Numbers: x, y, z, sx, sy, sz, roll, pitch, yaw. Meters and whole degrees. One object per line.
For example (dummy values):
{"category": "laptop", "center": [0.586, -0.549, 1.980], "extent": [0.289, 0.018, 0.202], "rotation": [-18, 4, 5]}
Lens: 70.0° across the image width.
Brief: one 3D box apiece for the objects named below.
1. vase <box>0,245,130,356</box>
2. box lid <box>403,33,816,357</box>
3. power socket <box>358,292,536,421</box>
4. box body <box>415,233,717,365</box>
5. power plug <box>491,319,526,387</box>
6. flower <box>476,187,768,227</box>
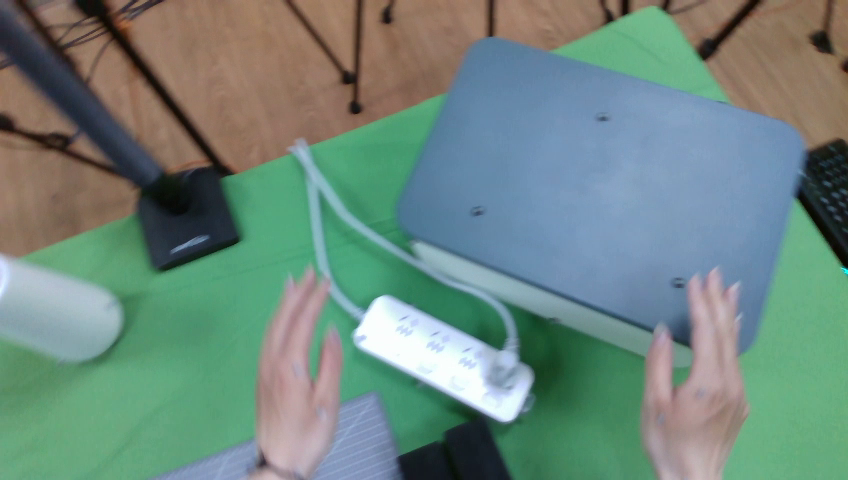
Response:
{"category": "vase", "center": [-0.426, 0.070, 0.692], "extent": [0.098, 0.201, 0.097], "rotation": [-1, 68, 4]}
{"category": "box lid", "center": [0.189, -0.062, 0.625], "extent": [0.370, 0.015, 0.262], "rotation": [22, 75, 12]}
{"category": "power socket", "center": [0.027, 0.136, 0.718], "extent": [0.226, 0.033, 0.072], "rotation": [26, 74, 14]}
{"category": "box body", "center": [0.194, -0.037, 0.695], "extent": [0.363, 0.161, 0.253], "rotation": [22, 74, 12]}
{"category": "power plug", "center": [0.105, 0.133, 0.687], "extent": [0.035, 0.053, 0.072], "rotation": [35, 73, 17]}
{"category": "flower", "center": [0.233, -0.053, 0.772], "extent": [0.359, 0.038, 0.044], "rotation": [7, 61, 27]}
